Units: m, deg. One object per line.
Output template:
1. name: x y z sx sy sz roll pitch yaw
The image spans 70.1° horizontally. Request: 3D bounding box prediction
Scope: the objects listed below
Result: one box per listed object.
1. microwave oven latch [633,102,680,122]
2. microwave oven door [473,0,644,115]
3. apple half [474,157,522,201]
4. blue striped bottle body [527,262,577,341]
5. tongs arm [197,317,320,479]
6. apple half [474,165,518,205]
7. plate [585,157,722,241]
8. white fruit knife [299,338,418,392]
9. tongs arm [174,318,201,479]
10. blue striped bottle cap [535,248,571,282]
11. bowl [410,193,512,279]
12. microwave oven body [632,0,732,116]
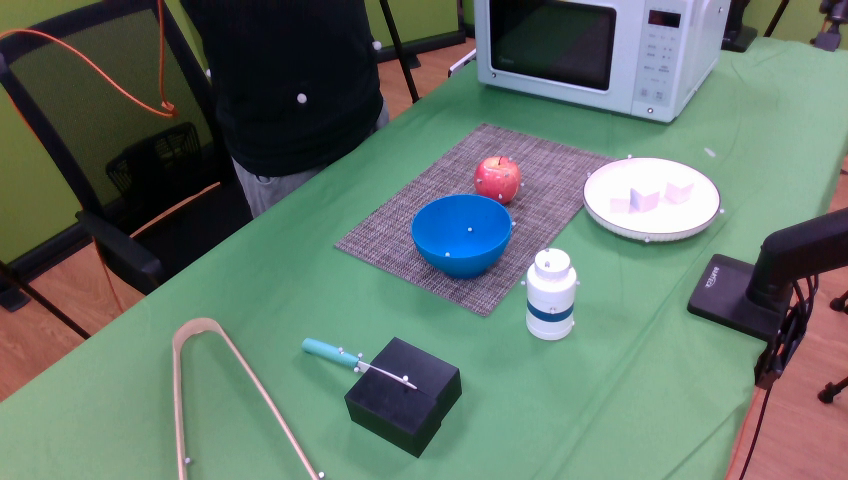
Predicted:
1. microwave oven latch: 0.444 -0.249 1.157 0.078 0.029 0.030 21 49 30
2. microwave oven door: 0.257 -0.396 1.199 0.353 0.245 0.039 21 48 29
3. apple half: 0.130 -0.107 1.031 0.080 0.075 0.053 8 38 22
4. blue striped bottle body: 0.165 0.070 0.786 0.063 0.121 0.063 -4 41 4
5. tongs arm: -0.200 0.207 0.750 0.028 0.028 0.384 -31 45 -22
6. apple half: 0.115 -0.084 1.005 0.081 0.081 0.033 11 41 20
7. plate: 0.367 -0.063 0.979 0.207 0.039 0.206 -4 40 4
8. white fruit knife: -0.087 0.156 0.762 0.206 0.027 0.016 11 44 36
9. tongs arm: -0.272 0.234 0.723 0.051 0.026 0.381 -19 40 -14
10. blue striped bottle cap: 0.161 0.031 0.753 0.044 0.021 0.044 -4 42 4
11. bowl: 0.058 0.005 0.905 0.151 0.077 0.150 -4 40 4
12. microwave oven body: 0.377 -0.462 1.267 0.438 0.261 0.327 21 48 30
